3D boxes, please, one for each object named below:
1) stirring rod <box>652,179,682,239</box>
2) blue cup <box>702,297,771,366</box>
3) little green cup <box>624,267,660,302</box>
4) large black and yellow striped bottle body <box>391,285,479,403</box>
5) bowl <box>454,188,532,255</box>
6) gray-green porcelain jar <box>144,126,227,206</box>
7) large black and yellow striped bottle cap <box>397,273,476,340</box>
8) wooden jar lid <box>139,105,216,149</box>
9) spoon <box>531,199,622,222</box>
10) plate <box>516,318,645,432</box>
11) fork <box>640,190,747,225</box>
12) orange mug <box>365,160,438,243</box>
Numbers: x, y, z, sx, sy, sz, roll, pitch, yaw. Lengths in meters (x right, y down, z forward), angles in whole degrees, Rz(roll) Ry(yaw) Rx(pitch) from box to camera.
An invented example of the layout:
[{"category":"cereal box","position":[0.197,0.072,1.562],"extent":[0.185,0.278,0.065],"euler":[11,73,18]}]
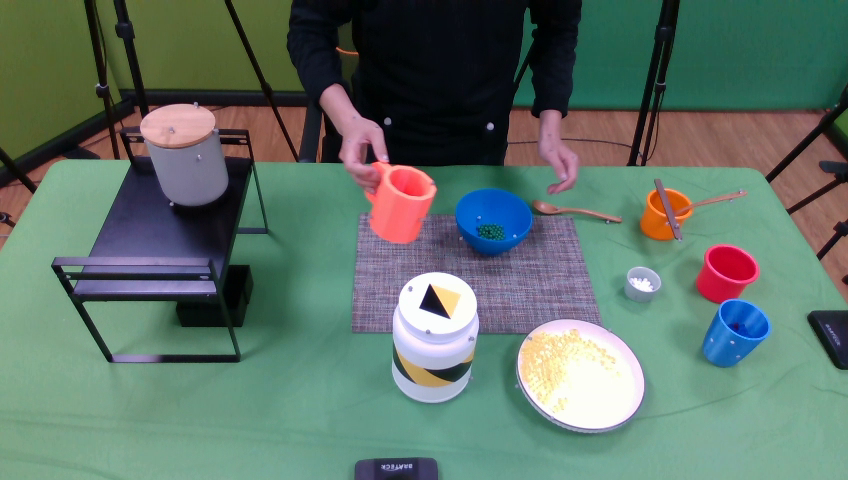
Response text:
[{"category":"stirring rod","position":[0.481,-0.065,1.204],"extent":[0.014,0.006,0.175],"euler":[1,46,-1]},{"category":"blue cup","position":[0.519,0.162,1.025],"extent":[0.093,0.101,0.092],"euler":[3,45,-3]},{"category":"little green cup","position":[0.406,0.084,1.135],"extent":[0.061,0.039,0.061],"euler":[3,45,-3]},{"category":"large black and yellow striped bottle body","position":[0.015,0.153,0.938],"extent":[0.131,0.185,0.130],"euler":[2,46,-2]},{"category":"bowl","position":[0.131,-0.025,1.187],"extent":[0.151,0.077,0.150],"euler":[2,46,-2]},{"category":"gray-green porcelain jar","position":[-0.375,-0.125,0.967],"extent":[0.106,0.127,0.105],"euler":[2,46,-2]},{"category":"large black and yellow striped bottle cap","position":[0.018,0.094,0.878],"extent":[0.115,0.019,0.114],"euler":[3,46,-3]},{"category":"wooden jar lid","position":[-0.372,-0.169,0.920],"extent":[0.108,0.021,0.107],"euler":[4,44,-4]},{"category":"spoon","position":[0.322,-0.060,1.279],"extent":[0.194,0.022,0.041],"euler":[8,32,5]},{"category":"plate","position":[0.253,0.221,0.992],"extent":[0.209,0.038,0.208],"euler":[2,46,-2]},{"category":"fork","position":[0.533,-0.065,1.211],"extent":[0.207,0.019,0.028],"euler":[-22,28,39]},{"category":"orange mug","position":[-0.044,-0.070,0.990],"extent":[0.083,0.101,0.125],"euler":[-26,64,-43]}]
